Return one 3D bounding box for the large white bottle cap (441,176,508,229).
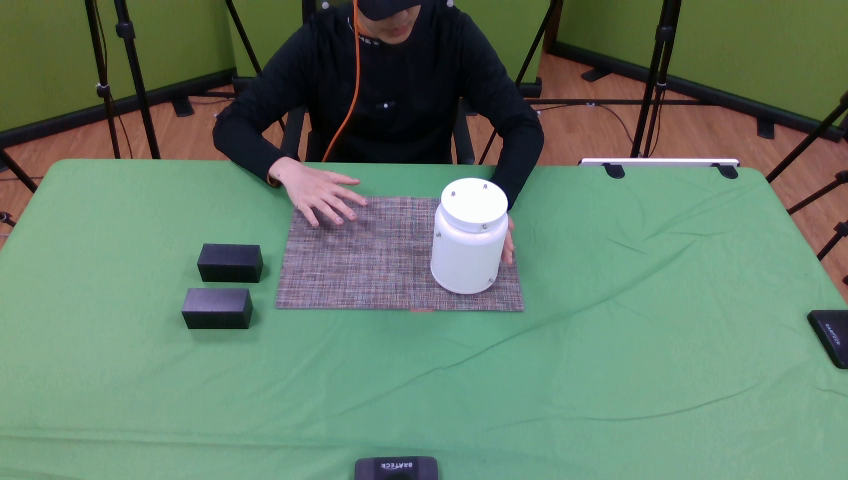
[{"bbox_3d":[0.086,-0.065,1.030,0.115,0.018,0.114,2,47,-2],"label":"large white bottle cap"}]

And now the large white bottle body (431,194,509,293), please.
[{"bbox_3d":[0.081,-0.007,1.091,0.131,0.185,0.130,2,47,-2],"label":"large white bottle body"}]
